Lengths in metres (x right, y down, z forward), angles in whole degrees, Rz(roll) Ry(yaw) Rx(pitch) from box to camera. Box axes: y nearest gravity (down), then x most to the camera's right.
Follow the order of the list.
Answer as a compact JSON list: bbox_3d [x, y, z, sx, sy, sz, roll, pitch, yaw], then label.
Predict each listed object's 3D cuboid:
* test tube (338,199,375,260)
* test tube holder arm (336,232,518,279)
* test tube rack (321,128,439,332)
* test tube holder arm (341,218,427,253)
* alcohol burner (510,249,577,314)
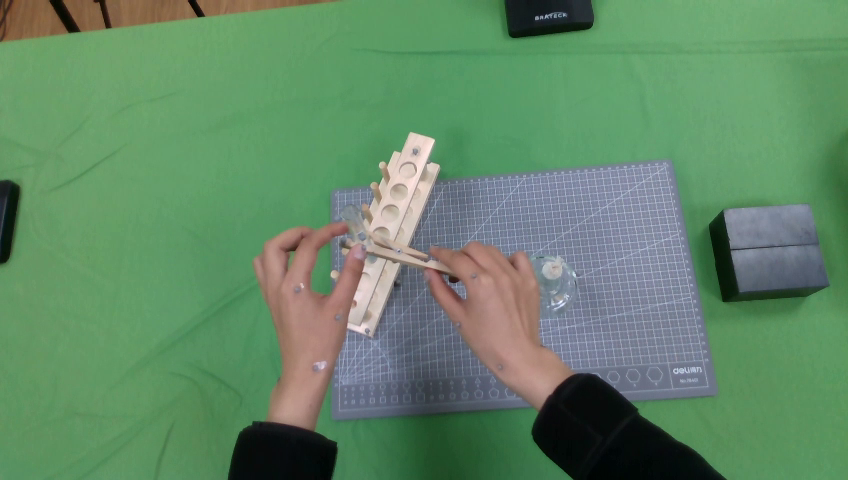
[{"bbox_3d":[-0.062,-0.006,0.586,0.017,0.151,0.017,-1,73,2],"label":"test tube"},{"bbox_3d":[0.002,0.015,0.587,0.178,0.015,0.013,13,72,5],"label":"test tube holder arm"},{"bbox_3d":[-0.057,-0.016,0.745,0.066,0.086,0.241,19,75,11],"label":"test tube rack"},{"bbox_3d":[-0.039,-0.001,0.594,0.087,0.015,0.010,21,72,8],"label":"test tube holder arm"},{"bbox_3d":[0.139,0.043,0.694,0.078,0.120,0.077,-1,71,3],"label":"alcohol burner"}]
